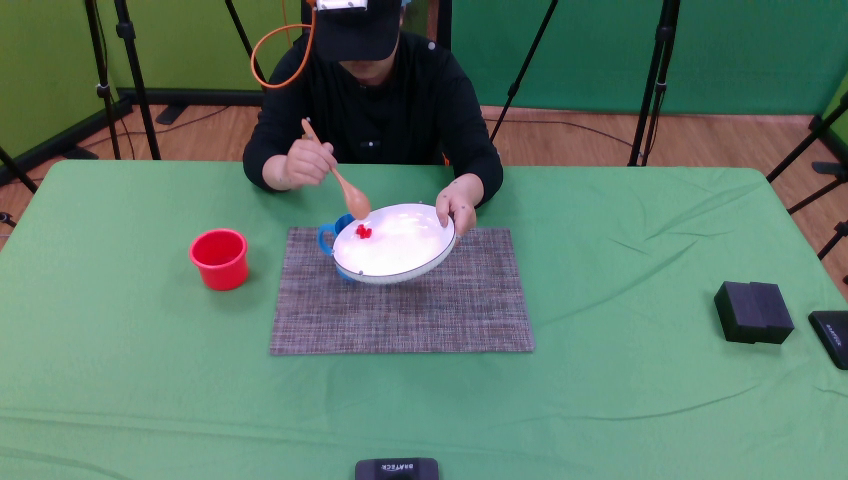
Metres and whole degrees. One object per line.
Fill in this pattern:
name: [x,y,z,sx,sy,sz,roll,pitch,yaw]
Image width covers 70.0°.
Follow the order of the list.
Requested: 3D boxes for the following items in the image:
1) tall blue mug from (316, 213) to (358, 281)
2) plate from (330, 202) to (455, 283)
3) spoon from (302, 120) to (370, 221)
tall blue mug: [-0.142,0.014,1.109,0.107,0.108,0.077,-5,48,-8]
plate: [-0.050,0.007,0.999,0.207,0.039,0.206,-8,34,6]
spoon: [-0.151,-0.117,1.019,0.041,0.021,0.194,-35,92,-25]
